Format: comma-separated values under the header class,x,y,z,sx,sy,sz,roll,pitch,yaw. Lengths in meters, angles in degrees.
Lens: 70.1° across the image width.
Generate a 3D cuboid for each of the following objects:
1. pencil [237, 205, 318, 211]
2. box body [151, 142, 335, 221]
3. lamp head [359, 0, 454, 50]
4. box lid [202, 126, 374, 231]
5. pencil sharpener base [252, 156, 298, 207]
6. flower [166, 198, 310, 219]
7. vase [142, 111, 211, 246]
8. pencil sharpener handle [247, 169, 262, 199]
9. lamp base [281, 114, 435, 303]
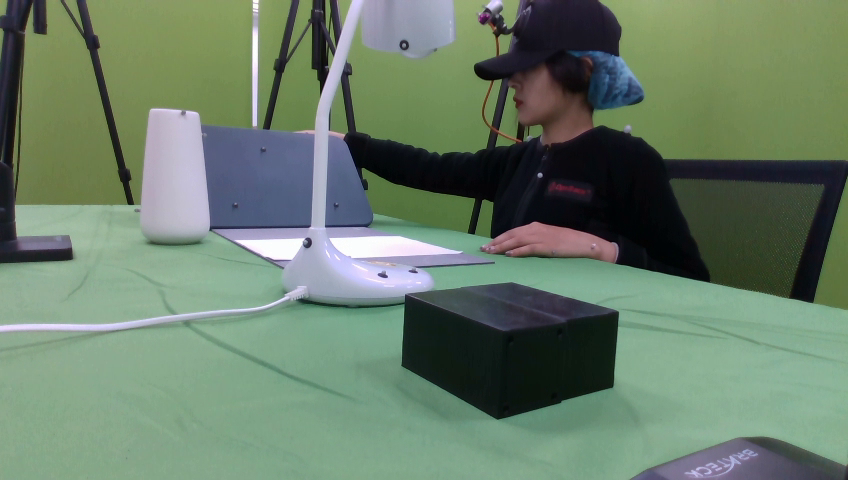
class,x,y,z,sx,sy,sz,roll,pitch,yaw
pencil,-0.346,-0.077,1.434,0.194,0.012,0.012,-2,8,-1
box body,-0.413,-0.134,1.379,0.366,0.160,0.253,-2,9,-31
lamp head,-0.024,-0.283,0.674,0.112,0.123,0.112,-3,38,3
box lid,-0.296,-0.128,1.234,0.373,0.262,0.015,-2,-35,-32
pencil sharpener base,-0.362,-0.140,1.459,0.077,0.107,0.061,-26,17,-26
flower,-0.399,-0.061,1.357,0.044,0.038,0.364,-36,-23,32
vase,-0.378,-0.093,0.920,0.098,0.200,0.098,2,9,0
pencil sharpener handle,-0.408,-0.132,1.434,0.031,0.068,0.036,-26,22,-26
lamp base,-0.071,-0.035,0.614,0.160,0.180,0.180,6,10,27
